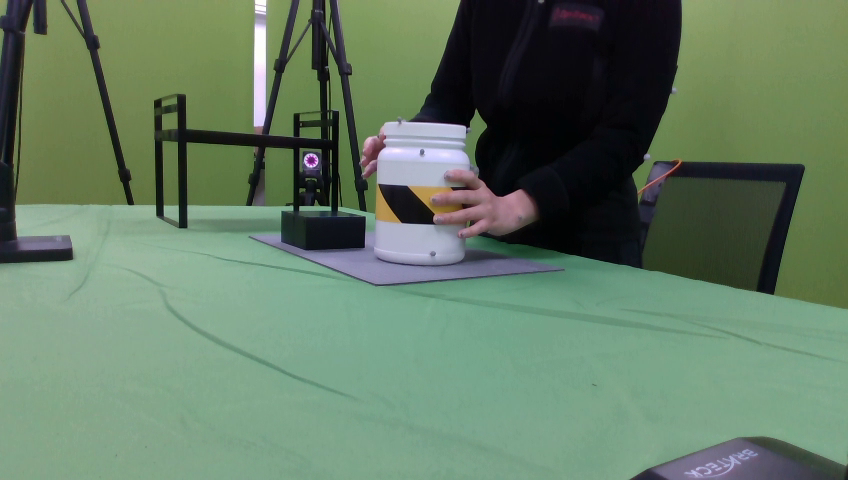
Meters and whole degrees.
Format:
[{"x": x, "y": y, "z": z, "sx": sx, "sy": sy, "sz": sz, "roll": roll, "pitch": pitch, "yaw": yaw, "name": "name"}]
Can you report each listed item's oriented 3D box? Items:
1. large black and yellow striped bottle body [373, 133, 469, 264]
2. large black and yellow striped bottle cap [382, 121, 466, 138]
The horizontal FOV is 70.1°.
[{"x": -0.004, "y": -0.066, "z": 0.846, "sx": 0.131, "sy": 0.184, "sz": 0.130, "roll": 2, "pitch": 7, "yaw": 0, "name": "large black and yellow striped bottle body"}, {"x": 0.000, "y": -0.153, "z": 0.835, "sx": 0.115, "sy": 0.019, "sz": 0.115, "roll": 3, "pitch": 10, "yaw": 0, "name": "large black and yellow striped bottle cap"}]
